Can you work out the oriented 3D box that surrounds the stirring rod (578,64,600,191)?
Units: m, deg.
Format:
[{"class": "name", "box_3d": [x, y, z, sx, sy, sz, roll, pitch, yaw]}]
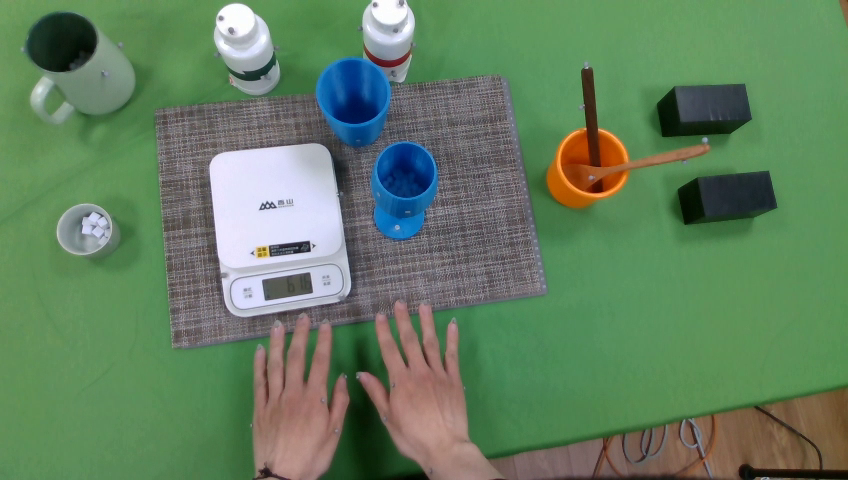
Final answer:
[{"class": "stirring rod", "box_3d": [0.201, -0.131, 0.736, 0.014, 0.178, 0.006, 3, 43, 25]}]

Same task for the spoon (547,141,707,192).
[{"class": "spoon", "box_3d": [0.239, -0.091, 0.734, 0.022, 0.193, 0.041, -4, 86, -50]}]

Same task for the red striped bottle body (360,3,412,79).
[{"class": "red striped bottle body", "box_3d": [-0.049, -0.255, 0.753, 0.063, 0.120, 0.063, 1, 78, -5]}]

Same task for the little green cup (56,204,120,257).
[{"class": "little green cup", "box_3d": [-0.391, -0.009, 0.712, 0.061, 0.039, 0.061, 1, 79, -6]}]

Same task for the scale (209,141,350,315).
[{"class": "scale", "box_3d": [-0.176, -0.018, 0.734, 0.149, 0.031, 0.200, -9, 80, -7]}]

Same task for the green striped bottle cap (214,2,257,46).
[{"class": "green striped bottle cap", "box_3d": [-0.211, -0.242, 0.677, 0.044, 0.020, 0.044, 1, 78, -4]}]

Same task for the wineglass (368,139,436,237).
[{"class": "wineglass", "box_3d": [-0.027, -0.053, 0.683, 0.074, 0.172, 0.073, 1, 78, -5]}]

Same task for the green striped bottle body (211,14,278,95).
[{"class": "green striped bottle body", "box_3d": [-0.216, -0.229, 0.732, 0.063, 0.119, 0.063, 1, 78, -5]}]

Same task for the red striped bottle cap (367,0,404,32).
[{"class": "red striped bottle cap", "box_3d": [-0.044, -0.265, 0.701, 0.044, 0.018, 0.044, 1, 76, -5]}]

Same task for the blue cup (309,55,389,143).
[{"class": "blue cup", "box_3d": [-0.086, -0.162, 0.737, 0.093, 0.100, 0.092, 1, 81, -5]}]

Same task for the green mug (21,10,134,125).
[{"class": "green mug", "box_3d": [-0.414, -0.193, 0.713, 0.092, 0.105, 0.125, 26, 77, 0]}]
